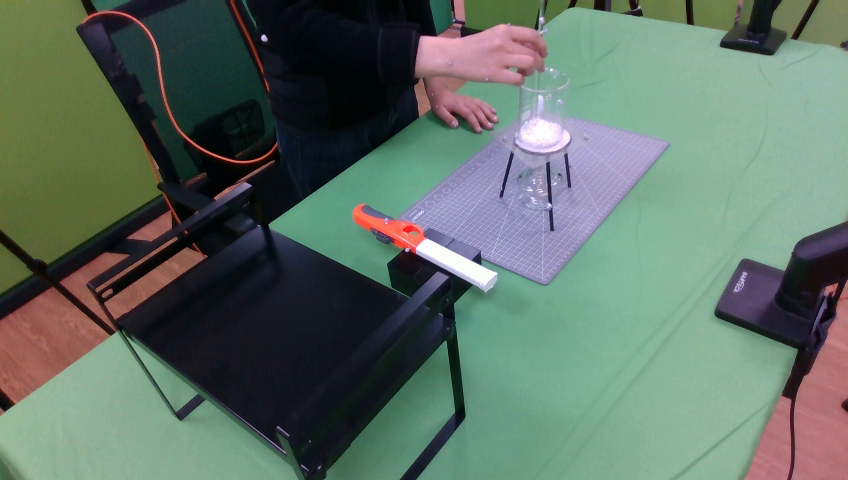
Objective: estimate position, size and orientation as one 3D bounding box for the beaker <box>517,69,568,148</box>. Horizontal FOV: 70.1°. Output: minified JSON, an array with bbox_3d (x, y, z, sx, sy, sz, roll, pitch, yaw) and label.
[{"bbox_3d":[0.180,-0.198,0.914,0.073,0.100,0.084,25,49,31],"label":"beaker"}]

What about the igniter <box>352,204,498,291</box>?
[{"bbox_3d":[-0.009,0.005,0.895,0.274,0.025,0.057,27,48,32],"label":"igniter"}]

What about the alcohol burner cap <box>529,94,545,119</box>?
[{"bbox_3d":[0.233,-0.277,1.247,0.034,0.048,0.033,-5,41,5],"label":"alcohol burner cap"}]

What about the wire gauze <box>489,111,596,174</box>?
[{"bbox_3d":[0.183,-0.159,0.944,0.122,0.011,0.124,-25,47,-17],"label":"wire gauze"}]

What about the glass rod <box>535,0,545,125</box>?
[{"bbox_3d":[0.169,-0.253,0.881,0.008,0.200,0.008,-3,44,4],"label":"glass rod"}]

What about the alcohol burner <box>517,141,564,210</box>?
[{"bbox_3d":[0.193,-0.110,1.001,0.078,0.119,0.077,-5,39,5],"label":"alcohol burner"}]

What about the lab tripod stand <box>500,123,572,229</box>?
[{"bbox_3d":[0.194,-0.110,0.985,0.148,0.132,0.147,-3,41,3],"label":"lab tripod stand"}]
